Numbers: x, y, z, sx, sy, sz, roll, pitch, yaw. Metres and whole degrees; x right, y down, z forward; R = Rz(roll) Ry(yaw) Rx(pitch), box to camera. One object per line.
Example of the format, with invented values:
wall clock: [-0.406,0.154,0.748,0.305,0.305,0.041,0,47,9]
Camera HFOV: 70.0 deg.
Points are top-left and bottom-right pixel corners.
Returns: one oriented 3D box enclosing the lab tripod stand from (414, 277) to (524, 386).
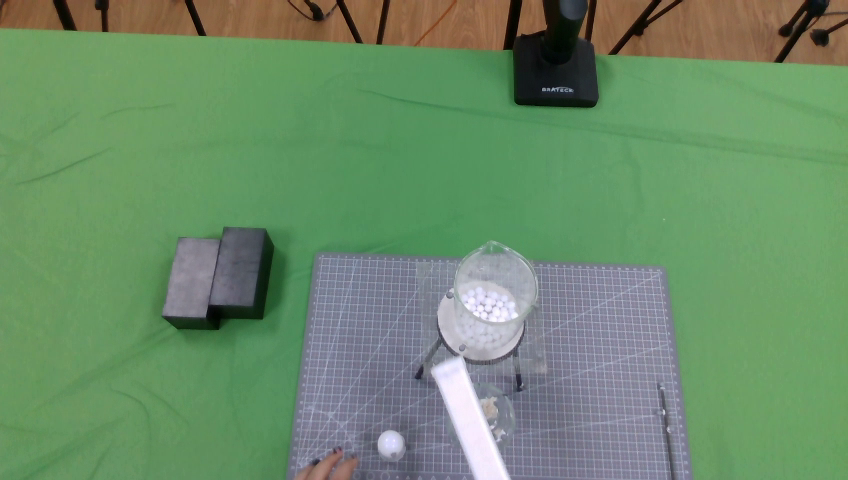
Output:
lab tripod stand: [0.054,0.101,0.669,0.148,0.132,0.147,0,65,0]

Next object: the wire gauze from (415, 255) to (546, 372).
wire gauze: [0.055,0.072,0.609,0.125,0.011,0.120,-2,64,-1]

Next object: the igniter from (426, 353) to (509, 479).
igniter: [0.067,0.236,0.539,0.057,0.025,0.276,-22,86,9]

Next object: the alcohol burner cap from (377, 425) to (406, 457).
alcohol burner cap: [-0.037,0.219,0.665,0.034,0.048,0.033,1,67,-1]

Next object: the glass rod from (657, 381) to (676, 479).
glass rod: [0.275,0.257,0.676,0.008,0.008,0.198,2,66,-1]

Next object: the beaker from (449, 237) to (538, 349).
beaker: [0.060,0.054,0.565,0.074,0.101,0.083,-1,64,-2]

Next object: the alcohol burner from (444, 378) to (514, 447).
alcohol burner: [0.060,0.182,0.645,0.078,0.120,0.077,0,64,0]
